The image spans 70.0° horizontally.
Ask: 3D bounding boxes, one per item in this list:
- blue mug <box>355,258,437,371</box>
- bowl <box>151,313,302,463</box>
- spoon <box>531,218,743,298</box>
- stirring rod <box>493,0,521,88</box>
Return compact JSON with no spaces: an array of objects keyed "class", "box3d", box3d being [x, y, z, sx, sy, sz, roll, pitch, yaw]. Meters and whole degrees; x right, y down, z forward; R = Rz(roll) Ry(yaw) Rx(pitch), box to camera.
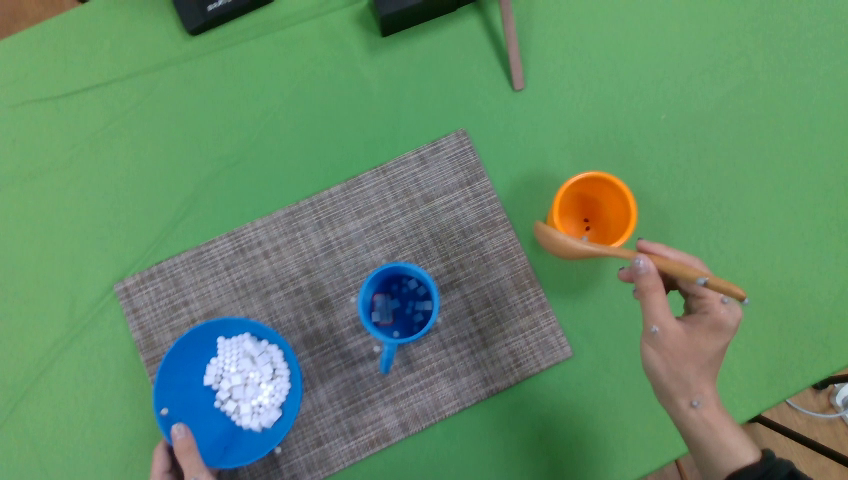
[{"class":"blue mug","box3d":[-0.032,0.083,0.651,0.082,0.106,0.116,13,82,1]},{"class":"bowl","box3d":[-0.201,0.155,0.651,0.151,0.077,0.151,0,82,-1]},{"class":"spoon","box3d":[0.160,0.012,0.490,0.021,0.192,0.042,-50,129,-22]},{"class":"stirring rod","box3d":[0.093,-0.271,0.724,0.014,0.006,0.177,-16,104,-9]}]
